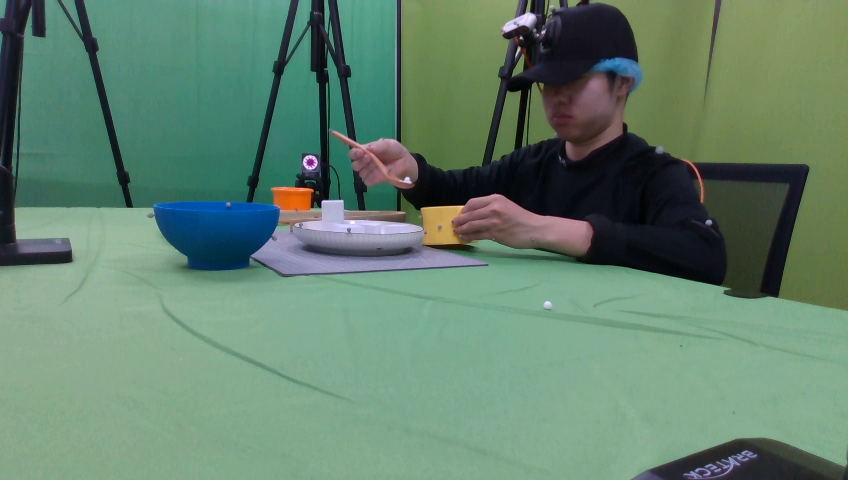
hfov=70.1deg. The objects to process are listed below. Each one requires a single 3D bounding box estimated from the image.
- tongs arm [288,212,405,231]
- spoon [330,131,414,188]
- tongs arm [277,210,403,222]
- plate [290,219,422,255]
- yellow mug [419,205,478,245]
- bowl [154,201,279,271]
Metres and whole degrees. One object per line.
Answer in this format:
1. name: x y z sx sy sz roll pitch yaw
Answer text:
1. tongs arm: -0.146 -0.040 1.280 0.028 0.028 0.389 3 5 33
2. spoon: -0.090 -0.136 1.002 0.193 0.021 0.042 40 17 26
3. tongs arm: -0.206 -0.052 1.332 0.387 0.026 0.050 -2 8 -44
4. plate: -0.108 -0.005 0.963 0.208 0.039 0.207 3 7 0
5. yellow mug: 0.051 -0.027 1.041 0.100 0.064 0.130 -4 3 -30
6. bowl: -0.263 -0.005 0.773 0.151 0.077 0.151 3 8 0
